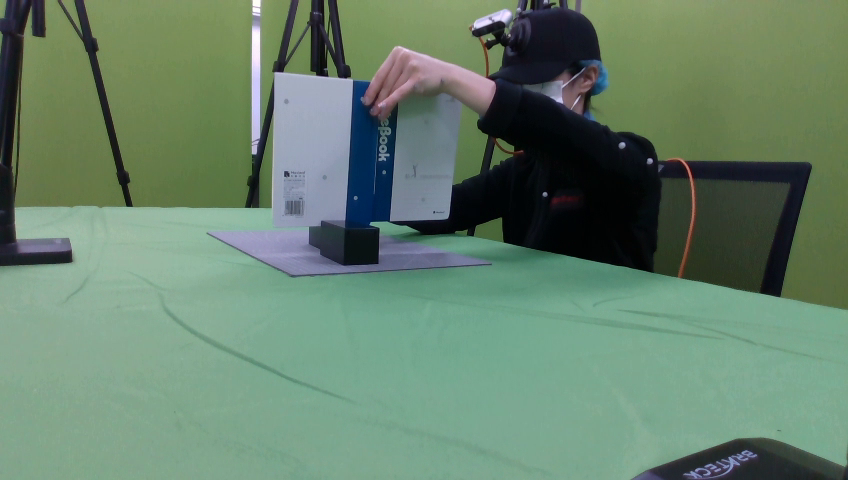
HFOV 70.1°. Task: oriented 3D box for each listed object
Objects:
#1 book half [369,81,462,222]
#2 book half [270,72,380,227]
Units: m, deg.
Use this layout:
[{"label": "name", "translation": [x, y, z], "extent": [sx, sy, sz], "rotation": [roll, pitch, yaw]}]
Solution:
[{"label": "book half", "translation": [-0.015, -0.130, 0.923], "extent": [0.144, 0.210, 0.007], "rotation": [-3, 17, -27]}, {"label": "book half", "translation": [-0.140, -0.122, 0.851], "extent": [0.149, 0.210, 0.016], "rotation": [-3, 19, -27]}]
